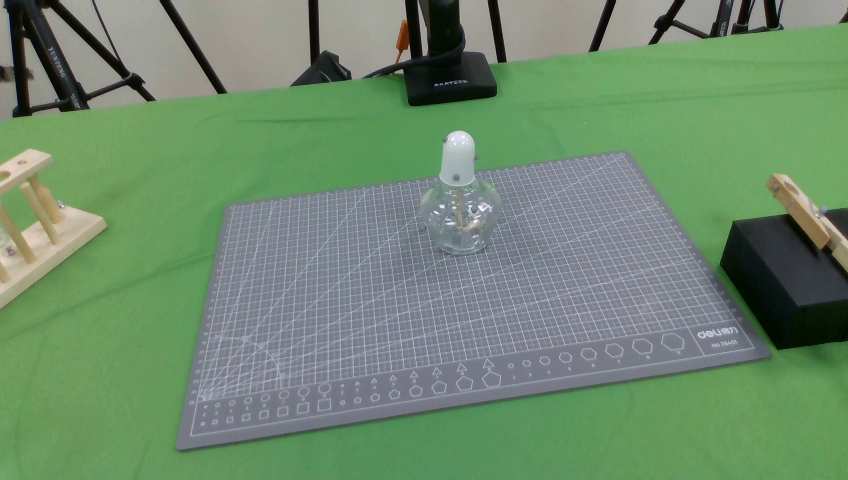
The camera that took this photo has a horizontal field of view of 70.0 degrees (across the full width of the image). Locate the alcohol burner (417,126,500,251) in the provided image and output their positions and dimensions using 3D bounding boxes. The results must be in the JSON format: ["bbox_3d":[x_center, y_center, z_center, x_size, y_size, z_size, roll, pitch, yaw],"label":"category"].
[{"bbox_3d":[0.031,-0.050,0.554,0.078,0.120,0.077,-4,40,3],"label":"alcohol burner"}]

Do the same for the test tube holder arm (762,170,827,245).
[{"bbox_3d":[0.308,-0.028,0.502,0.010,0.015,0.087,-1,41,-7],"label":"test tube holder arm"}]

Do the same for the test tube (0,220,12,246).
[{"bbox_3d":[-0.425,-0.054,0.558,0.017,0.151,0.017,-4,39,4],"label":"test tube"}]

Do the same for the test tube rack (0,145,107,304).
[{"bbox_3d":[-0.424,0.016,0.554,0.066,0.086,0.241,16,45,22],"label":"test tube rack"}]

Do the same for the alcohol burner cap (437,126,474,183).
[{"bbox_3d":[0.029,-0.076,0.530,0.034,0.048,0.033,1,41,-1],"label":"alcohol burner cap"}]

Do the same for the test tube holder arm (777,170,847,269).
[{"bbox_3d":[0.318,0.001,0.469,0.013,0.015,0.176,-1,41,-7],"label":"test tube holder arm"}]
